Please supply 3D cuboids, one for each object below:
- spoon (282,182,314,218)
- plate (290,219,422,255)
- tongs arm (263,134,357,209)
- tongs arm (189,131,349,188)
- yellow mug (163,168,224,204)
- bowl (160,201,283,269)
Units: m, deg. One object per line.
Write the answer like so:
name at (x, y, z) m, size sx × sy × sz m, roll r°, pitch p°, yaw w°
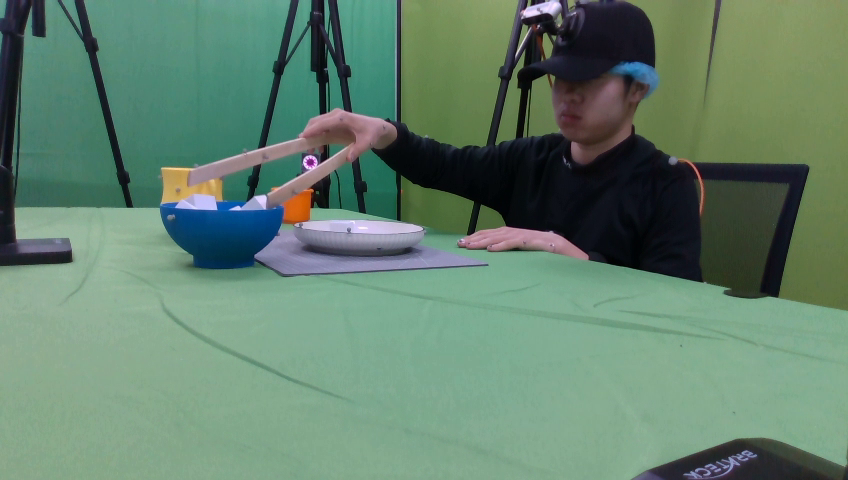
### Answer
spoon at (-0.262, -0.115, 1.359) m, size 0.041 × 0.194 × 0.022 m, roll 13°, pitch -33°, yaw 38°
plate at (-0.108, -0.005, 0.963) m, size 0.208 × 0.039 × 0.207 m, roll 3°, pitch 7°, yaw 0°
tongs arm at (-0.166, -0.115, 0.945) m, size 0.028 × 0.028 × 0.388 m, roll 10°, pitch 22°, yaw 8°
tongs arm at (-0.223, -0.132, 0.956) m, size 0.050 × 0.026 × 0.385 m, roll 16°, pitch 23°, yaw 14°
yellow mug at (-0.383, -0.087, 1.026) m, size 0.130 × 0.064 × 0.100 m, roll 11°, pitch 11°, yaw 44°
bowl at (-0.260, -0.007, 0.783) m, size 0.151 × 0.077 × 0.151 m, roll 2°, pitch 8°, yaw 0°
